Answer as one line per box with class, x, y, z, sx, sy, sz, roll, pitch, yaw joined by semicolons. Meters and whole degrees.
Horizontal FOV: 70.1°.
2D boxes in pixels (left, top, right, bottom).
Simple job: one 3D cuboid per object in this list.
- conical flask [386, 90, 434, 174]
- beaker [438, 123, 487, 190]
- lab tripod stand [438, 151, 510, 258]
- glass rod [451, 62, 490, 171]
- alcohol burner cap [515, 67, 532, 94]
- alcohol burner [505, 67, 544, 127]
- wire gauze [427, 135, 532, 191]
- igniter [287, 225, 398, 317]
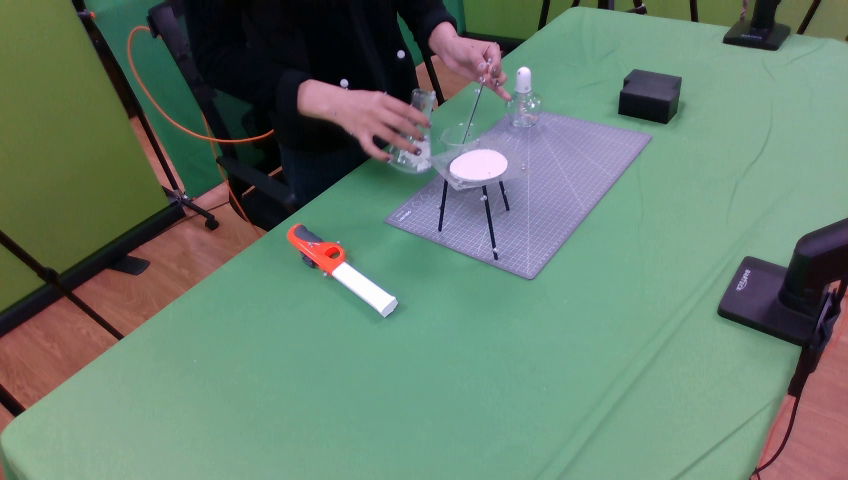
conical flask;-0.014;-0.171;0.954;0.075;0.122;0.075;10;29;-5
beaker;0.072;-0.147;1.080;0.084;0.101;0.073;-5;40;7
lab tripod stand;0.087;-0.064;0.952;0.148;0.132;0.147;-6;38;5
glass rod;0.076;-0.207;1.034;0.008;0.200;0.008;15;28;-8
alcohol burner cap;0.197;-0.315;1.187;0.034;0.048;0.033;-3;46;3
alcohol burner;0.201;-0.288;1.211;0.078;0.119;0.077;-6;38;5
wire gauze;0.081;-0.115;0.909;0.125;0.011;0.120;-18;39;-11
igniter;-0.139;0.041;0.958;0.057;0.025;0.274;-42;49;-19
